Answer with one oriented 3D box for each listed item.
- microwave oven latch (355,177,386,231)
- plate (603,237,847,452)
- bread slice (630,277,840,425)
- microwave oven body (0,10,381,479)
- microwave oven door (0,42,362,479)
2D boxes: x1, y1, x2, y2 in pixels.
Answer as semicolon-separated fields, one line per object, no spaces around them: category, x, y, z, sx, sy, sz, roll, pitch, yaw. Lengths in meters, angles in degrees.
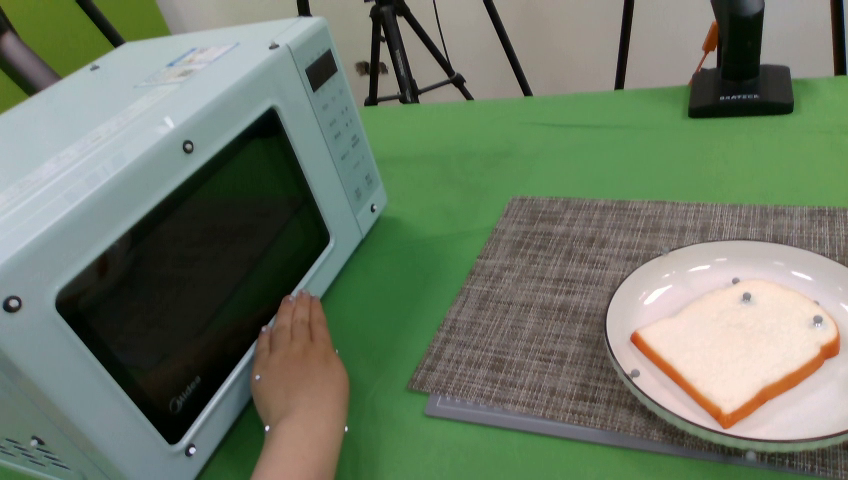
microwave oven latch;-0.073;-0.045;0.739;0.030;0.030;0.078;4;41;26
plate;0.247;0.075;0.469;0.209;0.038;0.207;-12;36;9
bread slice;0.245;0.074;0.472;0.131;0.019;0.103;-25;36;-12
microwave oven body;-0.294;-0.014;0.623;0.324;0.263;0.439;3;41;25
microwave oven door;-0.179;0.013;0.529;0.039;0.246;0.354;2;40;25
